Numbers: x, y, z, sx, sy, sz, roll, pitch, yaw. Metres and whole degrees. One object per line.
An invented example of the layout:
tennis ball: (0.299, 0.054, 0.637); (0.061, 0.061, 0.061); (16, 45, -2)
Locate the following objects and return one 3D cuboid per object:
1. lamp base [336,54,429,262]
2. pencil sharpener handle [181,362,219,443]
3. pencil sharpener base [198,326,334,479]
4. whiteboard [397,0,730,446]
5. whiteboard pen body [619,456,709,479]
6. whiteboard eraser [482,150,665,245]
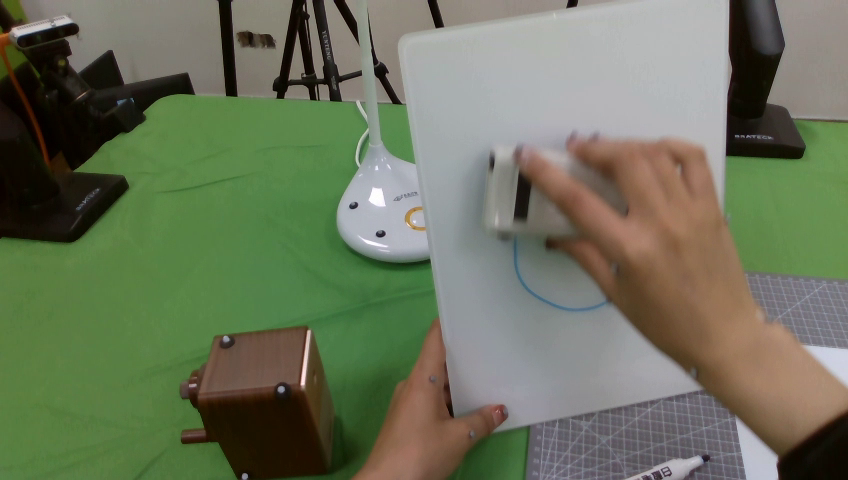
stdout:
lamp base: (-0.032, -0.095, 0.643); (0.161, 0.182, 0.177); (-27, 42, -25)
pencil sharpener handle: (-0.165, 0.120, 0.434); (0.030, 0.068, 0.035); (-6, 27, 0)
pencil sharpener base: (-0.113, 0.122, 0.446); (0.077, 0.108, 0.060); (-6, 40, 0)
whiteboard: (0.104, -0.022, 0.491); (0.217, 0.307, 0.143); (-10, 20, -4)
whiteboard pen body: (0.141, 0.176, 0.426); (0.141, 0.017, 0.017); (-14, 40, -12)
whiteboard eraser: (0.096, -0.027, 0.397); (0.113, 0.056, 0.041); (3, 18, -7)
